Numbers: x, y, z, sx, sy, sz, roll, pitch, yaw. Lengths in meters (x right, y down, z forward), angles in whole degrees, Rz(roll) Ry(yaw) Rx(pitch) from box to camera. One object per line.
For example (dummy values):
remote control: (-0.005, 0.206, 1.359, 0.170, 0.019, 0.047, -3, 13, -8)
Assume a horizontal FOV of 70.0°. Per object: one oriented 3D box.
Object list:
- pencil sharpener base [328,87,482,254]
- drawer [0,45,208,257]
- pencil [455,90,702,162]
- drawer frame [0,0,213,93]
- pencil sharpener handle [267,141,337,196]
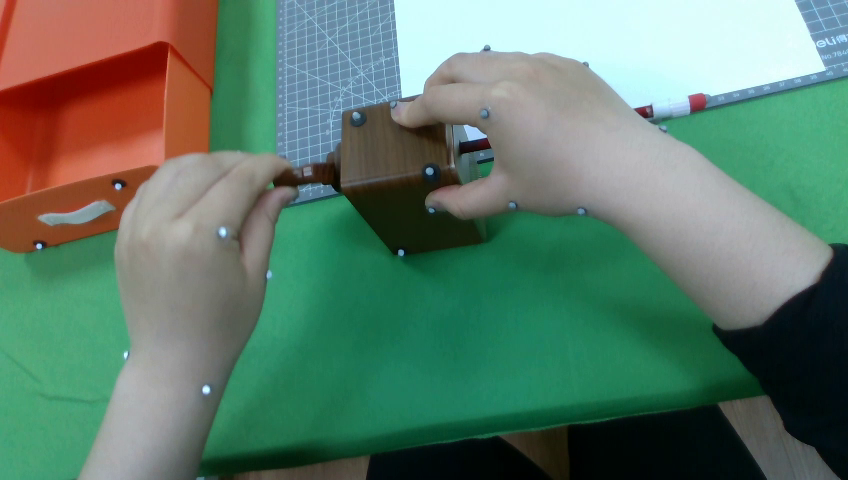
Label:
pencil sharpener base: (-0.009, -0.040, 0.401, 0.076, 0.108, 0.061, -9, 65, 14)
drawer: (-0.291, -0.107, 0.530, 0.194, 0.074, 0.210, -14, 64, 11)
pencil: (0.062, -0.060, 0.359, 0.194, 0.012, 0.012, -12, 64, 12)
drawer frame: (-0.307, -0.214, 0.577, 0.201, 0.083, 0.211, -13, 64, 11)
pencil sharpener handle: (-0.069, -0.040, 0.373, 0.030, 0.067, 0.036, -9, 100, 14)
